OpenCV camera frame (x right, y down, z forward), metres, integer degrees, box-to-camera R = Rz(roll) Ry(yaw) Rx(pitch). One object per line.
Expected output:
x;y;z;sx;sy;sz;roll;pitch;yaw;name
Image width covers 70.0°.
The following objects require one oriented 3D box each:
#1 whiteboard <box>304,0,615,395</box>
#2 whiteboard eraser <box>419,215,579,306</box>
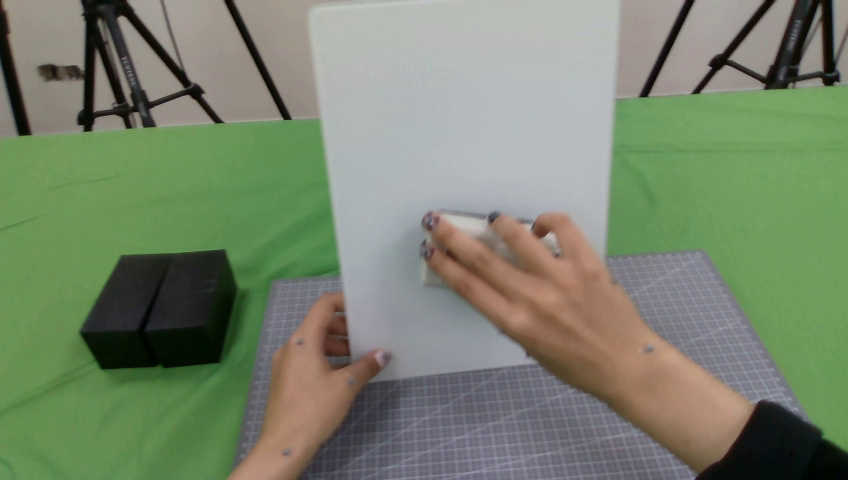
0.033;-0.045;0.529;0.217;0.307;0.143;-5;20;-2;whiteboard
0.055;0.014;0.451;0.113;0.056;0.041;7;20;-4;whiteboard eraser
